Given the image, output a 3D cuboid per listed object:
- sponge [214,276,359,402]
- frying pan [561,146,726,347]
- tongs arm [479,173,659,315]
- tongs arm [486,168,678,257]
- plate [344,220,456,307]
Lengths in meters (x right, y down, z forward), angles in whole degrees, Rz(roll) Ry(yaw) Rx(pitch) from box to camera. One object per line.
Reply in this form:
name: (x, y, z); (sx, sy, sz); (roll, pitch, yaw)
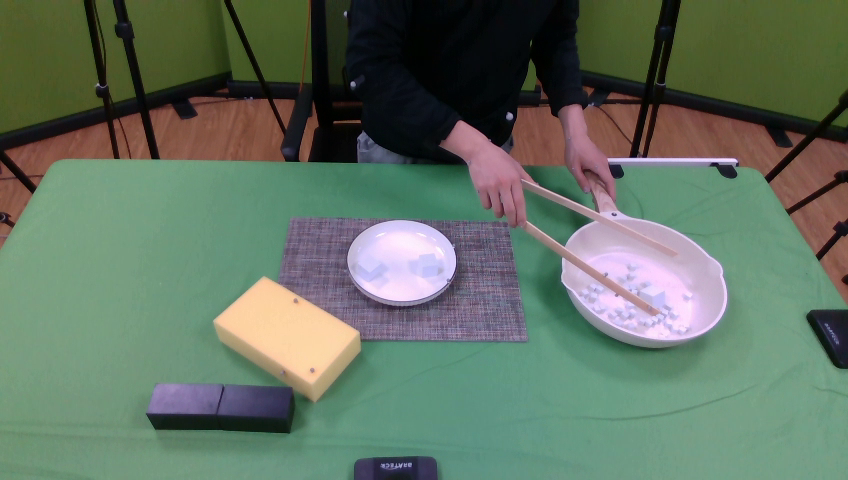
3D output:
sponge: (-0.224, 0.158, 0.998); (0.206, 0.061, 0.118); (27, 52, 18)
frying pan: (0.378, -0.005, 1.175); (0.307, 0.103, 0.484); (-4, 55, -9)
tongs arm: (0.258, 0.008, 1.077); (0.385, 0.026, 0.050); (33, 66, -1)
tongs arm: (0.289, -0.048, 1.107); (0.388, 0.028, 0.028); (24, 70, -5)
plate: (-0.045, 0.047, 1.133); (0.208, 0.039, 0.206); (3, 46, -2)
